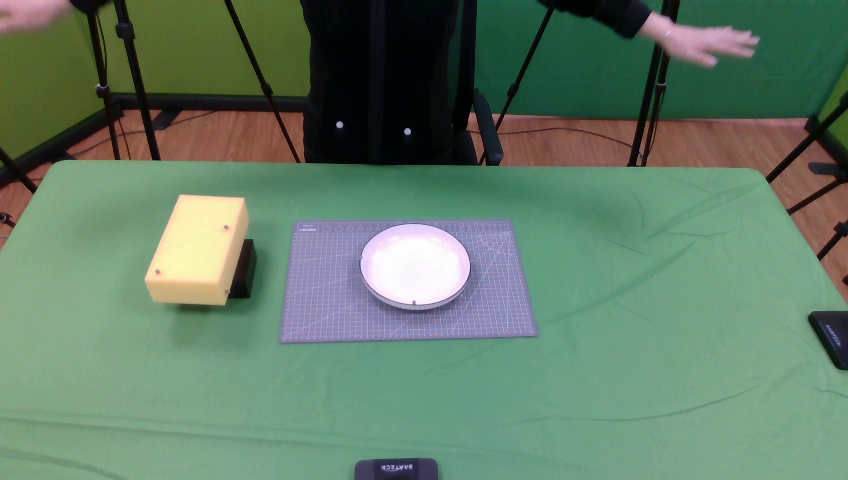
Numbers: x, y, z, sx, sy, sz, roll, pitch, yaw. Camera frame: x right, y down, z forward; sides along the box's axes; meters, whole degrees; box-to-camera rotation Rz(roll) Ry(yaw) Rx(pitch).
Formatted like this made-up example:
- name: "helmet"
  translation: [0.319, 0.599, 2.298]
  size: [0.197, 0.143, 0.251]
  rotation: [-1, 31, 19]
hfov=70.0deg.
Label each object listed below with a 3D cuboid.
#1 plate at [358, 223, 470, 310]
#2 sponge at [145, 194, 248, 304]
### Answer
- name: "plate"
  translation: [-0.019, 0.052, 1.132]
  size: [0.209, 0.038, 0.208]
  rotation: [2, 46, -2]
- name: "sponge"
  translation: [-0.391, 0.012, 1.059]
  size: [0.118, 0.061, 0.205]
  rotation: [2, 46, -3]
